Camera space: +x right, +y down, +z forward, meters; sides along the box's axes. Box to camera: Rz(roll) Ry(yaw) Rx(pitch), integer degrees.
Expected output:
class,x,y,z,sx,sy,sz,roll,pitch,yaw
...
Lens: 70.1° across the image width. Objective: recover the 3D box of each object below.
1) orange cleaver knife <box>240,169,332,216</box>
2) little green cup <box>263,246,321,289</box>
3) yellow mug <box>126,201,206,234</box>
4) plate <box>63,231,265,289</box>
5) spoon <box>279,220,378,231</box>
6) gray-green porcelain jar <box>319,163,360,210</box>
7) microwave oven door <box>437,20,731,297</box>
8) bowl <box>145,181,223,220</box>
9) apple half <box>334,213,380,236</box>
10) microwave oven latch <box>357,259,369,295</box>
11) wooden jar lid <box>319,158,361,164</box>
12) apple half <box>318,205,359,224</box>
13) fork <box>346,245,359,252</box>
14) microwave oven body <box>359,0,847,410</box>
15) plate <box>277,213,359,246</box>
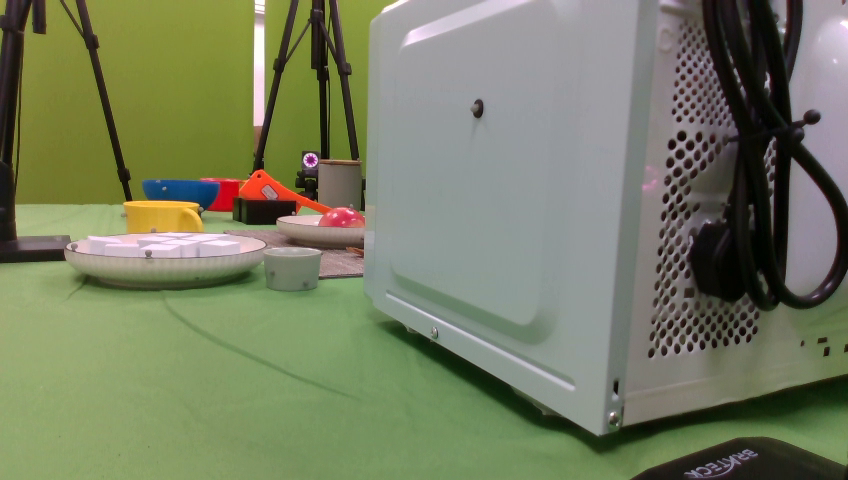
class,x,y,z,sx,sy,sz,roll,pitch,yaw
orange cleaver knife,-0.286,-0.082,1.298,0.212,0.077,0.012,25,-2,-31
little green cup,-0.142,0.029,0.649,0.061,0.038,0.061,3,7,0
yellow mug,-0.360,-0.019,0.866,0.130,0.064,0.100,6,9,27
plate,-0.288,0.021,0.687,0.208,0.039,0.207,2,8,0
spoon,-0.173,-0.030,1.128,0.195,0.021,0.041,-3,-12,-30
gray-green porcelain jar,-0.204,-0.126,1.490,0.106,0.126,0.106,2,8,0
microwave oven door,0.181,-0.076,0.618,0.358,0.243,0.039,-2,9,-28
bowl,-0.499,-0.081,1.261,0.151,0.077,0.151,2,7,0
apple half,-0.112,-0.029,1.034,0.081,0.033,0.081,1,10,0
microwave oven latch,-0.019,0.031,0.529,0.079,0.029,0.030,-1,7,-26
wooden jar lid,-0.203,-0.189,1.482,0.108,0.020,0.108,2,10,0
apple half,-0.126,-0.028,0.954,0.081,0.053,0.074,-2,11,-33
fork,-0.026,0.006,0.901,0.208,0.018,0.028,-7,-2,-43
microwave oven body,0.210,-0.051,0.471,0.444,0.260,0.324,-1,7,-28
plate,-0.135,-0.018,0.994,0.209,0.038,0.209,2,7,0
